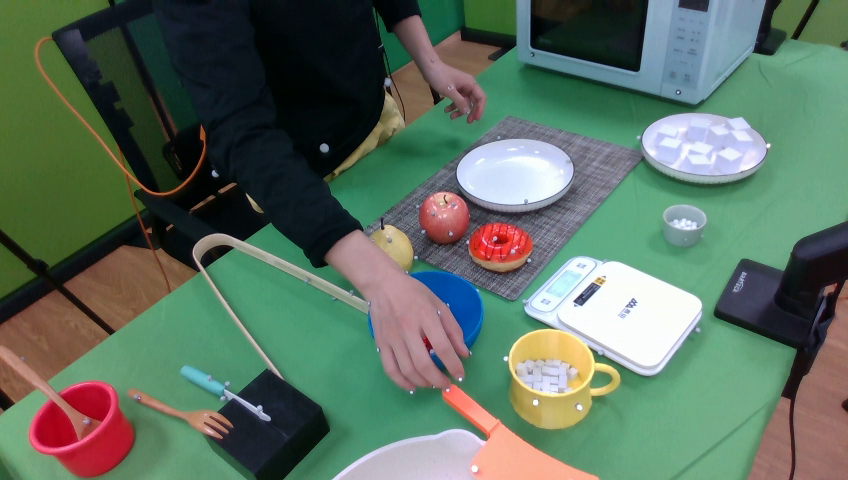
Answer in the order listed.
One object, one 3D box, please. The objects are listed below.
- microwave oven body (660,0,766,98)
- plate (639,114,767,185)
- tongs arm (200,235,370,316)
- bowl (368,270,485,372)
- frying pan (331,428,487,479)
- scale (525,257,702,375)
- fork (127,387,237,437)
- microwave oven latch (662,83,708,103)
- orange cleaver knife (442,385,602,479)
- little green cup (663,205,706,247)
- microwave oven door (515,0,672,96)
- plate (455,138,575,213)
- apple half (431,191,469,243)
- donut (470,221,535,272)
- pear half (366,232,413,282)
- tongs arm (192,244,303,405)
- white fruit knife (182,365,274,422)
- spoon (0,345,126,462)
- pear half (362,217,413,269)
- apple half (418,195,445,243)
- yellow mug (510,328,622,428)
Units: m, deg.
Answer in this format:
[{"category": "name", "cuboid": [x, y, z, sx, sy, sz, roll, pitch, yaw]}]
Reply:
[{"category": "microwave oven body", "cuboid": [0.472, -0.513, 1.317, 0.438, 0.261, 0.327, 26, 51, 34]}, {"category": "plate", "cuboid": [0.489, -0.157, 1.074, 0.207, 0.039, 0.206, -4, 40, 4]}, {"category": "tongs arm", "cuboid": [-0.209, 0.063, 0.924, 0.381, 0.026, 0.051, 23, 54, 32]}, {"category": "bowl", "cuboid": [0.007, 0.118, 0.791, 0.151, 0.077, 0.150, -4, 40, 4]}, {"category": "frying pan", "cuboid": [-0.089, 0.306, 0.564, 0.487, 0.103, 0.306, 10, 41, 7]}, {"category": "scale", "cuboid": [0.254, 0.091, 0.821, 0.199, 0.032, 0.149, 27, 51, 35]}, {"category": "fork", "cuboid": [-0.305, 0.208, 0.744, 0.206, 0.019, 0.028, 3, 42, 35]}, {"category": "microwave oven latch", "cuboid": [0.517, -0.296, 1.204, 0.078, 0.029, 0.030, 27, 52, 35]}, {"category": "orange cleaver knife", "cuboid": [0.085, 0.219, 0.612, 0.209, 0.012, 0.077, 28, 48, 35]}, {"category": "little green cup", "cuboid": [0.396, -0.020, 0.926, 0.061, 0.039, 0.061, -4, 40, 4]}, {"category": "microwave oven door", "cuboid": [0.343, -0.455, 1.259, 0.353, 0.245, 0.039, 26, 51, 33]}, {"category": "plate", "cuboid": [0.159, -0.111, 1.063, 0.209, 0.038, 0.208, -4, 40, 4]}, {"category": "apple half", "cuboid": [0.045, -0.038, 0.967, 0.053, 0.075, 0.080, -14, 37, -11]}, {"category": "donut", "cuboid": [0.119, 0.009, 0.923, 0.099, 0.048, 0.098, -3, 39, 3]}, {"category": "pear half", "cuboid": [-0.048, 0.031, 0.893, 0.071, 0.088, 0.031, -16, 40, -13]}, {"category": "tongs arm", "cuboid": [-0.268, 0.110, 0.884, 0.028, 0.028, 0.384, -36, 47, -18]}, {"category": "white fruit knife", "cuboid": [-0.245, 0.188, 0.747, 0.205, 0.027, 0.016, 9, 41, 41]}, {"category": "spoon", "cuboid": [-0.434, 0.192, 0.720, 0.194, 0.021, 0.042, 47, 53, -6]}, {"category": "pear half", "cuboid": [-0.059, 0.002, 0.913, 0.076, 0.110, 0.055, -14, 41, -13]}, {"category": "apple half", "cuboid": [0.009, -0.028, 0.959, 0.033, 0.081, 0.080, -14, 41, -11]}, {"category": "yellow mug", "cuboid": [0.168, 0.164, 0.721, 0.130, 0.064, 0.099, 0, 41, 8]}]
